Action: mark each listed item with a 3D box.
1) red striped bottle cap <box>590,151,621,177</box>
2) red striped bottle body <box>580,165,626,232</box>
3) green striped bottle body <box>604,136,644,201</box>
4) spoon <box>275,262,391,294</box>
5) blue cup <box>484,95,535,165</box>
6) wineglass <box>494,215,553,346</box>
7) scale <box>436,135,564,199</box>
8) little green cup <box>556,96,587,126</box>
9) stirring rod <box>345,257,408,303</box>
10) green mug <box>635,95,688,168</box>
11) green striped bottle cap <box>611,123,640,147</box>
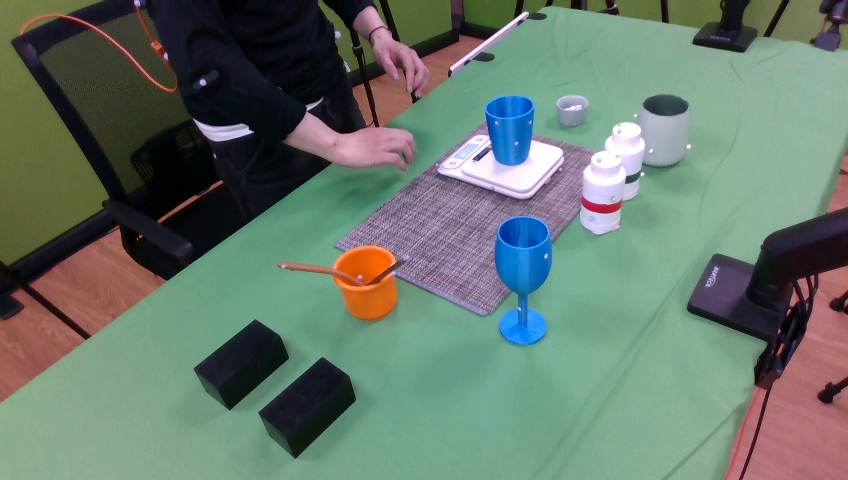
[{"bbox_3d":[0.273,-0.115,0.908,0.044,0.018,0.044,-4,44,4],"label":"red striped bottle cap"},{"bbox_3d":[0.278,-0.075,0.942,0.063,0.120,0.062,-4,41,4],"label":"red striped bottle body"},{"bbox_3d":[0.326,-0.128,0.997,0.063,0.120,0.063,-4,41,4],"label":"green striped bottle body"},{"bbox_3d":[-0.120,0.050,0.830,0.041,0.195,0.021,31,97,45],"label":"spoon"},{"bbox_3d":[0.150,-0.188,1.052,0.092,0.100,0.092,-5,39,5],"label":"blue cup"},{"bbox_3d":[0.127,0.055,0.770,0.074,0.173,0.073,-4,40,4],"label":"wineglass"},{"bbox_3d":[0.137,-0.142,1.101,0.199,0.032,0.149,22,48,30],"label":"scale"},{"bbox_3d":[0.295,-0.258,1.214,0.061,0.039,0.061,-4,42,4],"label":"little green cup"},{"bbox_3d":[-0.067,0.057,0.815,0.014,0.175,0.006,-25,82,-38],"label":"stirring rod"},{"bbox_3d":[0.421,-0.201,1.081,0.092,0.105,0.125,5,42,15],"label":"green mug"},{"bbox_3d":[0.322,-0.168,0.963,0.044,0.020,0.044,-3,41,4],"label":"green striped bottle cap"}]
